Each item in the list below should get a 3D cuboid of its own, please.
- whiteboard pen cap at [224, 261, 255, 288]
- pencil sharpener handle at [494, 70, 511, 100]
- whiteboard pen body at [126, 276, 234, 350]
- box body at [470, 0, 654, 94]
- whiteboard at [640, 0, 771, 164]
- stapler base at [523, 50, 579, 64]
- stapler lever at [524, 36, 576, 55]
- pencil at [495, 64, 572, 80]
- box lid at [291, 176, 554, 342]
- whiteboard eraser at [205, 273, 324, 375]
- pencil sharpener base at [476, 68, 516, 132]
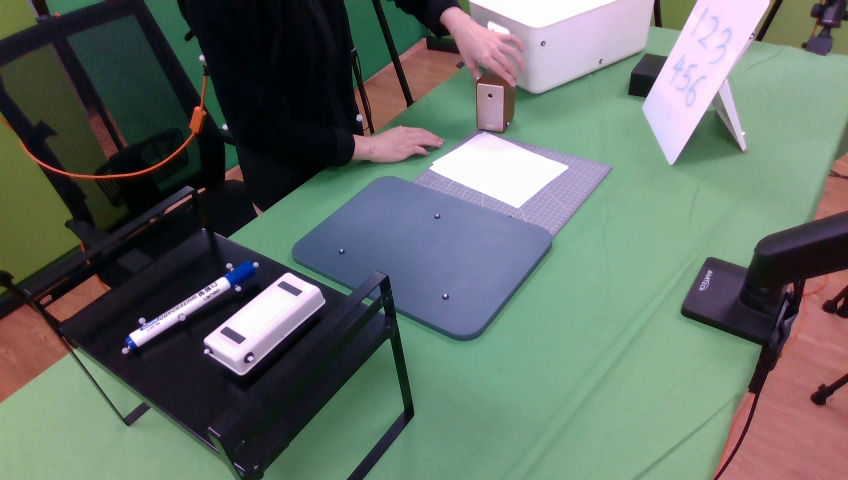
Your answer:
[{"bbox_3d":[-0.207,0.039,0.677,0.033,0.018,0.018,-36,47,-18],"label":"whiteboard pen cap"},{"bbox_3d":[0.167,-0.325,1.248,0.036,0.068,0.030,12,44,21],"label":"pencil sharpener handle"},{"bbox_3d":[-0.251,0.070,0.649,0.141,0.017,0.017,-36,48,-26],"label":"whiteboard pen body"},{"bbox_3d":[0.319,-0.498,1.405,0.365,0.161,0.252,-26,43,-21],"label":"box body"},{"bbox_3d":[0.543,-0.299,1.076,0.144,0.305,0.216,12,40,-7],"label":"whiteboard"},{"bbox_3d":[0.301,-0.436,1.434,0.130,0.024,0.041,5,40,17],"label":"stapler base"},{"bbox_3d":[0.296,-0.456,1.418,0.117,0.040,0.027,4,40,17],"label":"stapler lever"},{"bbox_3d":[0.249,-0.391,1.398,0.192,0.012,0.012,19,47,27],"label":"pencil"},{"bbox_3d":[-0.005,0.011,0.972,0.368,0.015,0.264,21,49,30],"label":"box lid"},{"bbox_3d":[-0.157,0.084,0.605,0.055,0.042,0.113,24,49,30],"label":"whiteboard eraser"},{"bbox_3d":[0.148,-0.284,1.221,0.061,0.107,0.077,12,44,21],"label":"pencil sharpener base"}]
